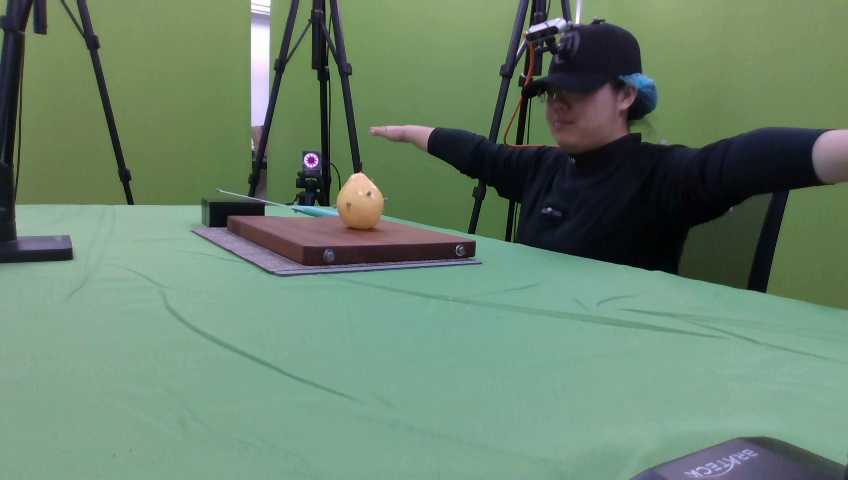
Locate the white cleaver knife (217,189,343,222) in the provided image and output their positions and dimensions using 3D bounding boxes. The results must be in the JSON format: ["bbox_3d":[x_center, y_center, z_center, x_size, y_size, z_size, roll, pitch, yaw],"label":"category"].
[{"bbox_3d":[-0.275,-0.066,1.233,0.288,0.021,0.065,11,6,-29],"label":"white cleaver knife"}]

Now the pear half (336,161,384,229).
[{"bbox_3d":[-0.099,-0.072,0.972,0.077,0.110,0.055,-7,11,-31],"label":"pear half"}]

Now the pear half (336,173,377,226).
[{"bbox_3d":[-0.116,-0.067,1.004,0.071,0.088,0.031,-11,13,-31],"label":"pear half"}]
